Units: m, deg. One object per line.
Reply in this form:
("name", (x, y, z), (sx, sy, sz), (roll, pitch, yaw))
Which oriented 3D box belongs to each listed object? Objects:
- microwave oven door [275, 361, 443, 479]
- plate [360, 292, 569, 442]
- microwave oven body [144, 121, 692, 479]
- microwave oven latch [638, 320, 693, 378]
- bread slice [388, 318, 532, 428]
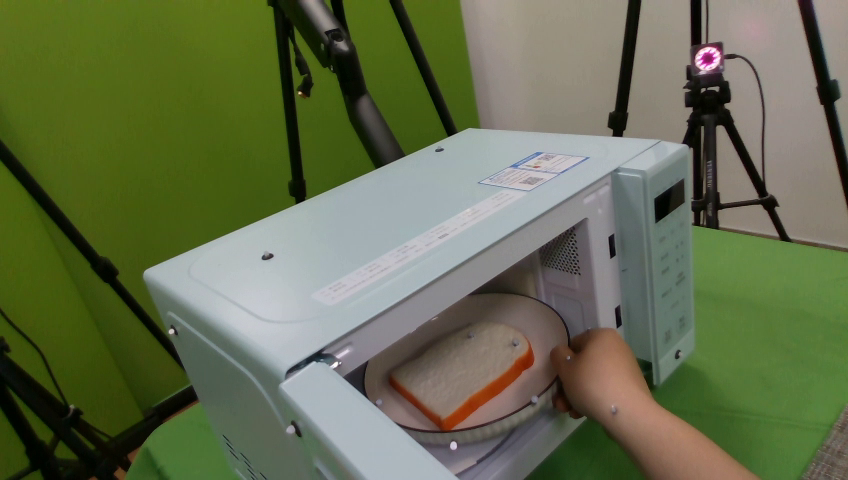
("microwave oven door", (0.047, 0.219, 0.271), (0.039, 0.245, 0.352), (-27, 27, -28))
("plate", (0.040, 0.124, 0.599), (0.209, 0.038, 0.207), (-14, 24, 7))
("microwave oven body", (0.015, 0.074, 0.626), (0.442, 0.262, 0.323), (-30, 30, -32))
("microwave oven latch", (0.261, 0.114, 0.653), (0.079, 0.030, 0.030), (-30, 30, -32))
("bread slice", (0.039, 0.124, 0.603), (0.131, 0.019, 0.104), (-31, 30, -23))
